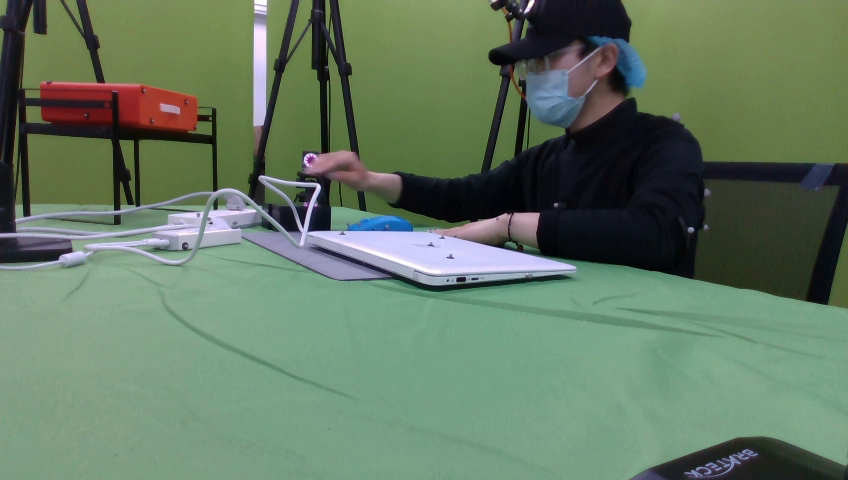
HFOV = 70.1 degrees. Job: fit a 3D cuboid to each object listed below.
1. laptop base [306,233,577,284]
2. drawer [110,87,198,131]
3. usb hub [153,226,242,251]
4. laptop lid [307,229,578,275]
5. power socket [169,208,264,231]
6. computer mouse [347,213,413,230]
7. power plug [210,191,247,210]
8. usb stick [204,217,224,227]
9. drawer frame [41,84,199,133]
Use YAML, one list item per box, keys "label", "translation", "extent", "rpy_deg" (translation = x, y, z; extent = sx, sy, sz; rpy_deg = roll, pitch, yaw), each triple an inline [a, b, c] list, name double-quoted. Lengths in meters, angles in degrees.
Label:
- label: "laptop base"
  translation: [0.007, 0.022, 0.850]
  extent: [0.237, 0.023, 0.352]
  rpy_deg: [1, 7, -34]
- label: "drawer"
  translation: [-0.602, -0.263, 1.225]
  extent: [0.211, 0.073, 0.195]
  rpy_deg: [3, 8, 10]
- label: "usb hub"
  translation: [-0.337, -0.003, 0.907]
  extent: [0.049, 0.025, 0.125]
  rpy_deg: [6, 9, 28]
- label: "laptop lid"
  translation: [0.009, 0.010, 0.850]
  extent: [0.243, 0.013, 0.355]
  rpy_deg: [0, 8, -32]
- label: "power socket"
  translation: [-0.381, -0.038, 1.128]
  extent: [0.072, 0.032, 0.227]
  rpy_deg: [4, 8, 17]
- label: "computer mouse"
  translation: [-0.079, -0.025, 1.080]
  extent: [0.117, 0.041, 0.062]
  rpy_deg: [-5, 12, -18]
- label: "power plug"
  translation: [-0.386, -0.071, 1.204]
  extent: [0.072, 0.052, 0.035]
  rpy_deg: [8, 11, 25]
- label: "usb stick"
  translation: [-0.345, -0.019, 1.008]
  extent: [0.027, 0.021, 0.059]
  rpy_deg: [44, -9, 2]
- label: "drawer frame"
  translation: [-0.605, -0.264, 1.225]
  extent: [0.213, 0.082, 0.202]
  rpy_deg: [3, 8, 8]
